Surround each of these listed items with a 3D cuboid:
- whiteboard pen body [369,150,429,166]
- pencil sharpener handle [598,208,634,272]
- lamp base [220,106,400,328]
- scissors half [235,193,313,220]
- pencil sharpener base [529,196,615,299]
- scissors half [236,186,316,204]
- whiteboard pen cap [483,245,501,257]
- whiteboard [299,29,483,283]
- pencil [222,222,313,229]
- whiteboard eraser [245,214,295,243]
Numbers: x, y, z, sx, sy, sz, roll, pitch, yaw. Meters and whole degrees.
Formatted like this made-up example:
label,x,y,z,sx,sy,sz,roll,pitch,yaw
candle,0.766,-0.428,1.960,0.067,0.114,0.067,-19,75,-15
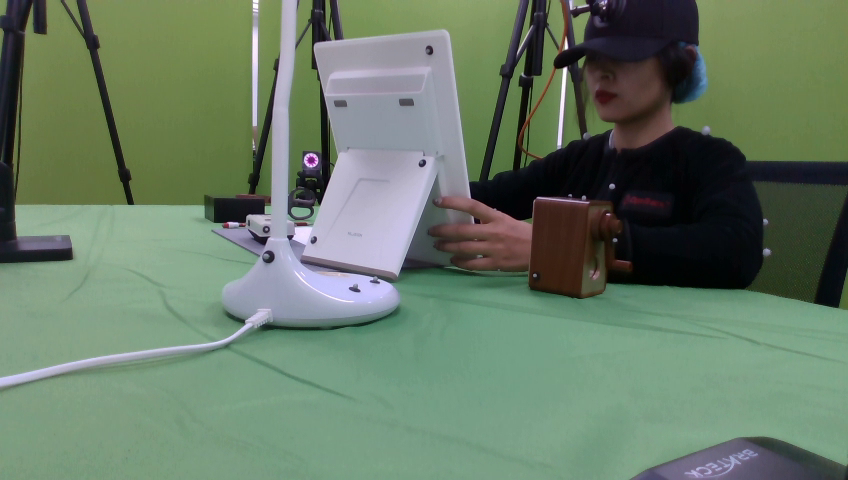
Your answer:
label,x,y,z,sx,sy,sz,roll,pitch,yaw
whiteboard pen body,-0.036,-0.120,0.876,0.017,0.017,0.141,7,6,32
pencil sharpener handle,0.208,0.000,0.644,0.030,0.068,0.036,10,23,42
lamp base,-0.101,-0.023,0.531,0.160,0.180,0.179,4,10,10
scissors half,-0.324,-0.077,1.319,0.176,0.040,0.012,17,6,-31
pencil sharpener base,0.168,0.007,0.677,0.076,0.107,0.062,10,10,42
scissors half,-0.320,-0.097,1.316,0.176,0.040,0.013,-3,11,-29
whiteboard pen cap,0.104,0.017,0.936,0.018,0.018,0.033,-1,4,-22
whiteboard,-0.074,-0.082,0.742,0.216,0.305,0.144,9,29,37
pencil,-0.302,-0.030,1.189,0.195,0.012,0.012,-2,9,-42
whiteboard eraser,-0.247,-0.018,0.965,0.056,0.042,0.112,0,8,-28
